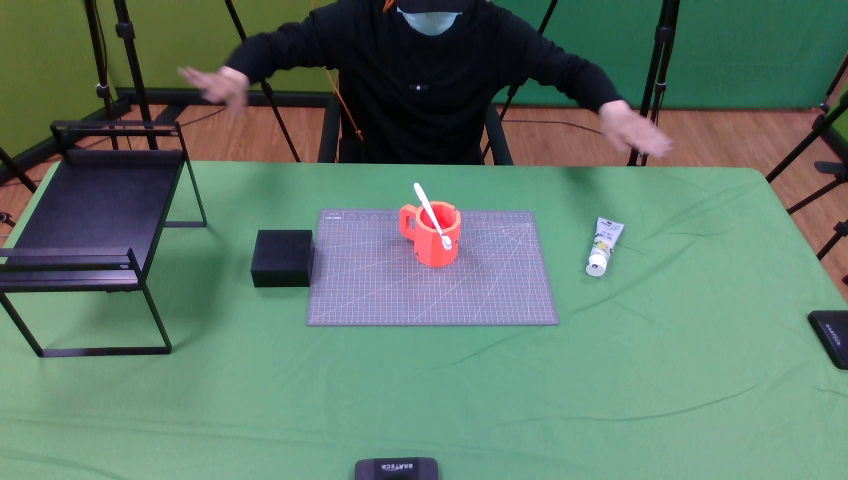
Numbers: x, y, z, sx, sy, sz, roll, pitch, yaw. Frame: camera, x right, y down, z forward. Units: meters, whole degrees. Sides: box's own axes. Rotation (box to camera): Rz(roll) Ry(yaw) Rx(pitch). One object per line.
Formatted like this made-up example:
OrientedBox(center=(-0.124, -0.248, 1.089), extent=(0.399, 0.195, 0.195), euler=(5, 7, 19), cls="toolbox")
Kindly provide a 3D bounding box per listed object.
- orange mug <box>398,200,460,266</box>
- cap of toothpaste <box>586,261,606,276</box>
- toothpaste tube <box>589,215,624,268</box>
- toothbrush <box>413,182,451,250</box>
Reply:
OrientedBox(center=(0.007, -0.020, 1.161), extent=(0.126, 0.101, 0.083), euler=(27, 50, 15), cls="orange mug")
OrientedBox(center=(0.330, 0.054, 1.160), extent=(0.037, 0.037, 0.011), euler=(12, 48, 7), cls="cap of toothpaste")
OrientedBox(center=(0.363, 0.005, 1.216), extent=(0.055, 0.034, 0.164), euler=(24, 46, 9), cls="toothpaste tube")
OrientedBox(center=(0.013, -0.050, 1.118), extent=(0.014, 0.017, 0.180), euler=(-15, 49, -14), cls="toothbrush")
